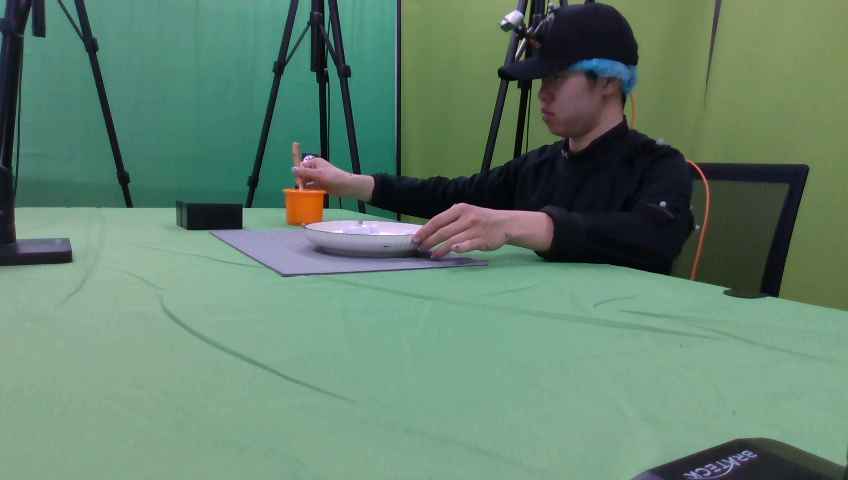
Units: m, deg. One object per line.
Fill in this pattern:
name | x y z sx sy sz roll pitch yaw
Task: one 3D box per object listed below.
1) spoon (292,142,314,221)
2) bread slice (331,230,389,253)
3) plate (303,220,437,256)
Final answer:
spoon | -0.272 -0.130 1.319 0.042 0.193 0.021 -6 -25 -19
bread slice | -0.088 0.000 0.947 0.105 0.019 0.131 -4 11 -45
plate | -0.084 -0.003 0.951 0.209 0.038 0.209 3 7 0
